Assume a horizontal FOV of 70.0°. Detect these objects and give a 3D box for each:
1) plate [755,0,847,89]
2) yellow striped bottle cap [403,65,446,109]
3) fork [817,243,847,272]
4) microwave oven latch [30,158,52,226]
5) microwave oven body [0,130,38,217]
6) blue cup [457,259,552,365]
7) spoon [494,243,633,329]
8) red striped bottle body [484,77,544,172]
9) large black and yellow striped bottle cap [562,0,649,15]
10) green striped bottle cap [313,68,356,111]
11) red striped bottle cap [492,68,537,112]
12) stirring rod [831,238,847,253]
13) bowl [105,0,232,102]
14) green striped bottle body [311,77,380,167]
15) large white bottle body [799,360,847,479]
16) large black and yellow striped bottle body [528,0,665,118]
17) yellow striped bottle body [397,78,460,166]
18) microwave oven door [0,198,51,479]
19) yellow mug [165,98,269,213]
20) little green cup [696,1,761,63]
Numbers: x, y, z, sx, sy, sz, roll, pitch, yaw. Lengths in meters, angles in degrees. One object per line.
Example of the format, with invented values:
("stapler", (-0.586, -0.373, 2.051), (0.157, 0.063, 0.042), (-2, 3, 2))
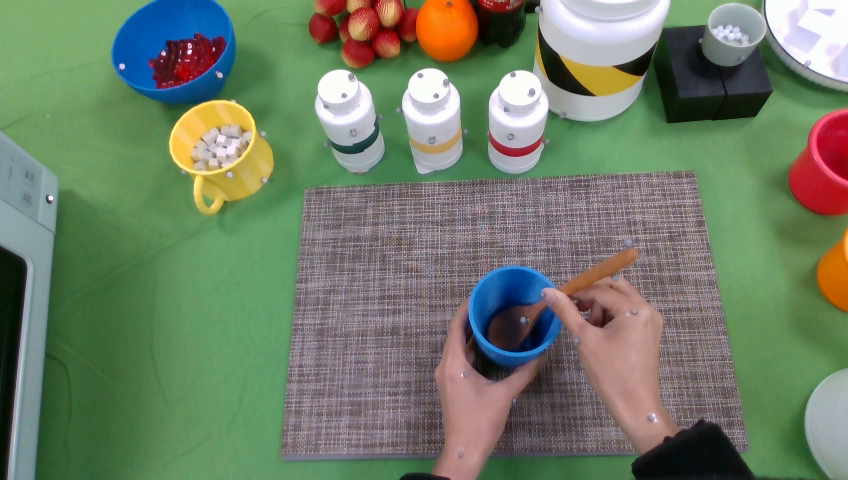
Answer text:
("plate", (0.504, -0.264, 0.730), (0.209, 0.038, 0.207), (-2, 67, 4))
("yellow striped bottle cap", (0.001, -0.159, 0.627), (0.044, 0.019, 0.044), (-1, 68, 4))
("fork", (0.463, 0.035, 0.546), (0.028, 0.019, 0.205), (-36, 24, -15))
("microwave oven latch", (-0.454, -0.054, 0.703), (0.030, 0.030, 0.078), (-9, 67, 1))
("microwave oven body", (-0.577, 0.095, 0.546), (0.326, 0.262, 0.438), (-11, 67, 0))
("blue cup", (0.085, 0.078, 0.583), (0.092, 0.101, 0.092), (-7, 62, 14))
("spoon", (0.112, 0.050, 0.541), (0.022, 0.194, 0.041), (9, 60, -25))
("red striped bottle body", (0.099, -0.131, 0.664), (0.063, 0.121, 0.062), (-4, 64, 8))
("large black and yellow striped bottle cap", (0.177, -0.269, 0.589), (0.115, 0.019, 0.114), (-2, 66, 5))
("green striped bottle cap", (-0.094, -0.158, 0.635), (0.044, 0.020, 0.044), (-2, 65, 4))
("red striped bottle cap", (0.092, -0.153, 0.616), (0.044, 0.018, 0.044), (0, 65, 1))
("stirring rod", (0.435, 0.035, 0.554), (0.014, 0.006, 0.174), (-9, 24, 1))
("bowl", (-0.305, -0.228, 0.762), (0.151, 0.077, 0.150), (-2, 67, 4))
("green striped bottle body", (-0.089, -0.138, 0.683), (0.063, 0.120, 0.062), (-2, 66, 4))
("large white bottle body", (0.409, 0.142, 0.485), (0.130, 0.186, 0.129), (-2, 66, 5))
("large black and yellow striped bottle body", (0.185, -0.237, 0.666), (0.131, 0.185, 0.130), (-2, 67, 5))
("yellow striped bottle body", (0.006, -0.138, 0.674), (0.063, 0.121, 0.062), (-2, 67, 6))
("microwave oven door", (-0.427, 0.103, 0.524), (0.039, 0.245, 0.353), (-11, 66, 1))
("yellow mug", (-0.244, -0.093, 0.706), (0.100, 0.064, 0.130), (7, 68, 7))
("little green cup", (0.336, -0.230, 0.674), (0.061, 0.039, 0.061), (-1, 65, 3))
